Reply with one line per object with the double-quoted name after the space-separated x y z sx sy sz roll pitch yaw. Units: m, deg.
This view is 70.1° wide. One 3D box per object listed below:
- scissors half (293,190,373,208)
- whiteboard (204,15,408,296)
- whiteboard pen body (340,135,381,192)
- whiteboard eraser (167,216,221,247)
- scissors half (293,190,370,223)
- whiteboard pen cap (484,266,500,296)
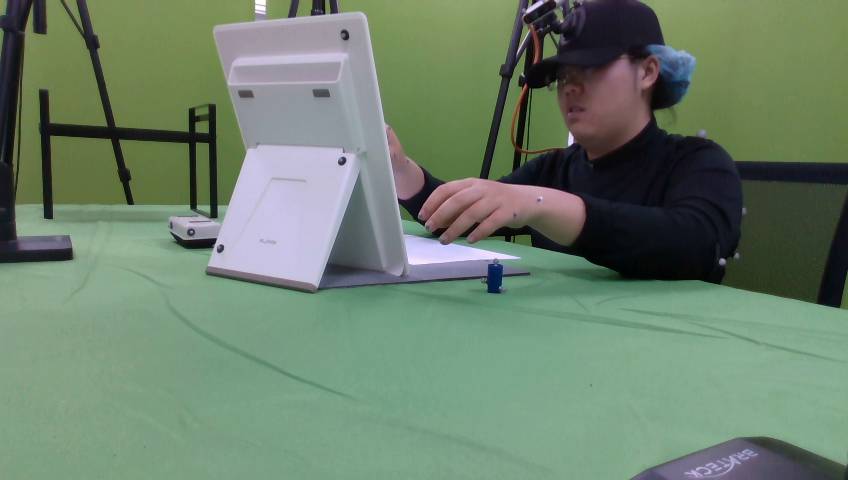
-0.201 -0.096 1.333 0.175 0.040 0.013 5 18 -4 "scissors half"
-0.166 -0.072 0.669 0.216 0.305 0.144 8 30 30 "whiteboard"
-0.097 -0.117 0.931 0.017 0.017 0.140 -3 -29 -36 "whiteboard pen body"
-0.350 -0.013 0.920 0.056 0.042 0.112 0 7 -35 "whiteboard eraser"
-0.205 -0.077 1.338 0.175 0.040 0.013 22 11 -8 "scissors half"
0.075 0.046 0.668 0.018 0.033 0.018 3 5 0 "whiteboard pen cap"
